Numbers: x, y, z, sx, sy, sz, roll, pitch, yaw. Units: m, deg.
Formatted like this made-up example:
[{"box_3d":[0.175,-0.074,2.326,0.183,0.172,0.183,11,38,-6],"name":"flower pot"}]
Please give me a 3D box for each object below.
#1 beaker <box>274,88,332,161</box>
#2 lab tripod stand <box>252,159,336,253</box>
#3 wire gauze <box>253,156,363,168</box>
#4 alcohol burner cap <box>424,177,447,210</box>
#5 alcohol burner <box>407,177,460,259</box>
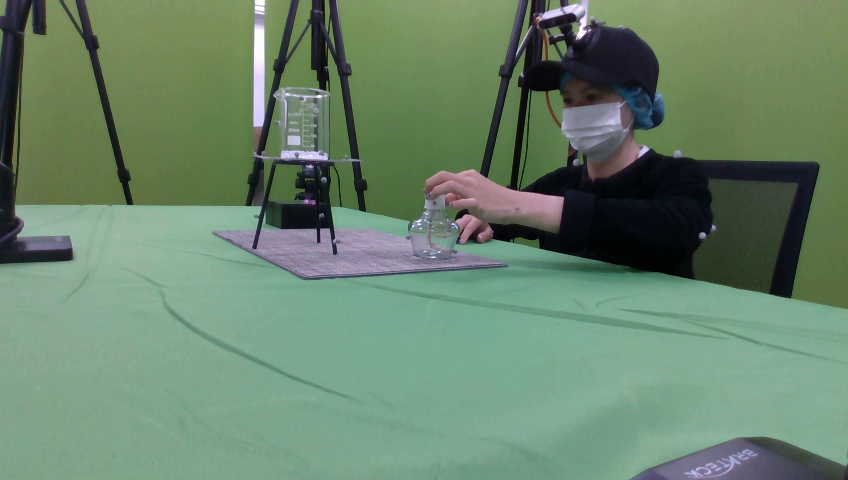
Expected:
[{"box_3d":[-0.177,-0.165,0.879,0.084,0.100,0.074,2,5,1],"name":"beaker"},{"box_3d":[-0.180,-0.053,0.900,0.148,0.131,0.148,1,6,0],"name":"lab tripod stand"},{"box_3d":[-0.172,-0.117,0.891,0.122,0.011,0.124,0,3,-38],"name":"wire gauze"},{"box_3d":[0.018,-0.067,0.875,0.034,0.048,0.034,1,12,0],"name":"alcohol burner cap"},{"box_3d":[0.015,-0.032,0.882,0.078,0.119,0.078,3,5,0],"name":"alcohol burner"}]
